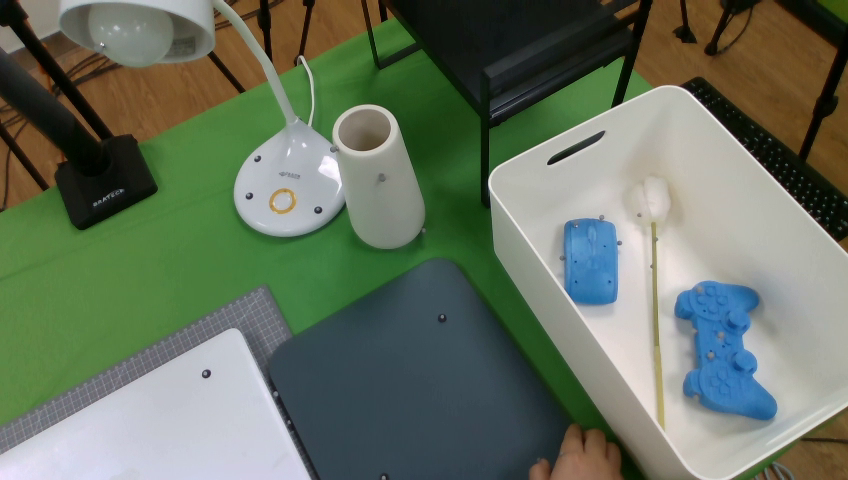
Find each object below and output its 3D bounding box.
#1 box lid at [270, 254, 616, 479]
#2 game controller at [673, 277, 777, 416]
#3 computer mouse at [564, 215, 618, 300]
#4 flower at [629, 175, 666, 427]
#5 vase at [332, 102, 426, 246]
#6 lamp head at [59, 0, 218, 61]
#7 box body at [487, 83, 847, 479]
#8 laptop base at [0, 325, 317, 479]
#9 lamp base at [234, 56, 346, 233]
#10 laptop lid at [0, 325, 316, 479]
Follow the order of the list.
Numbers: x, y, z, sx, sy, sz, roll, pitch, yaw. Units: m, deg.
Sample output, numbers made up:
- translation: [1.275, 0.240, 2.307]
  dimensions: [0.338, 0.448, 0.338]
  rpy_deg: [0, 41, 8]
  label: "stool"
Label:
- translation: [0.012, 0.204, 0.673]
  dimensions: [0.263, 0.015, 0.368]
  rpy_deg: [-30, 64, -12]
  label: "box lid"
- translation: [0.333, 0.111, 0.670]
  dimensions: [0.097, 0.052, 0.154]
  rpy_deg: [2, 62, 8]
  label: "game controller"
- translation: [0.202, 0.017, 0.733]
  dimensions: [0.062, 0.041, 0.116]
  rpy_deg: [3, 59, 10]
  label: "computer mouse"
- translation: [0.267, 0.082, 0.702]
  dimensions: [0.044, 0.038, 0.359]
  rpy_deg: [-9, 58, 29]
  label: "flower"
- translation: [-0.054, -0.073, 0.717]
  dimensions: [0.098, 0.202, 0.097]
  rpy_deg: [-3, 61, 6]
  label: "vase"
- translation: [-0.220, -0.214, 0.477]
  dimensions: [0.112, 0.113, 0.122]
  rpy_deg: [-2, 80, 4]
  label: "lamp head"
- translation: [0.260, 0.044, 0.651]
  dimensions: [0.254, 0.162, 0.360]
  rpy_deg: [-27, 64, -9]
  label: "box body"
- translation: [-0.313, 0.273, 0.661]
  dimensions: [0.354, 0.023, 0.233]
  rpy_deg: [-30, 68, -11]
  label: "laptop base"
- translation: [-0.186, -0.127, 0.767]
  dimensions: [0.160, 0.182, 0.177]
  rpy_deg: [1, 60, 5]
  label: "lamp base"
- translation: [-0.313, 0.269, 0.650]
  dimensions: [0.357, 0.013, 0.239]
  rpy_deg: [-28, 66, -9]
  label: "laptop lid"
